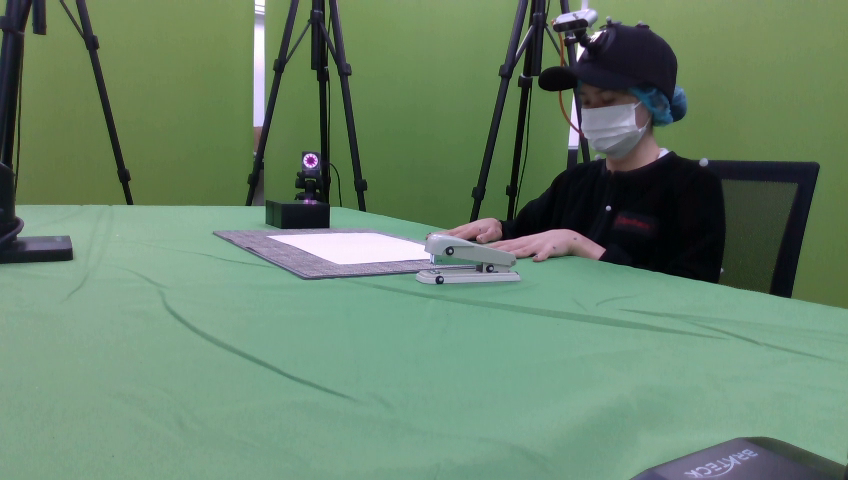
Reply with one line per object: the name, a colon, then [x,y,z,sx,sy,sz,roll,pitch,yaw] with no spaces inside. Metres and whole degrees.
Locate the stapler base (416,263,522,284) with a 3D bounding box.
stapler base: [0.055,0.038,0.733,0.131,0.024,0.041,1,8,-23]

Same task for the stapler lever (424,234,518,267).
stapler lever: [0.057,0.014,0.731,0.118,0.040,0.026,1,8,-22]
